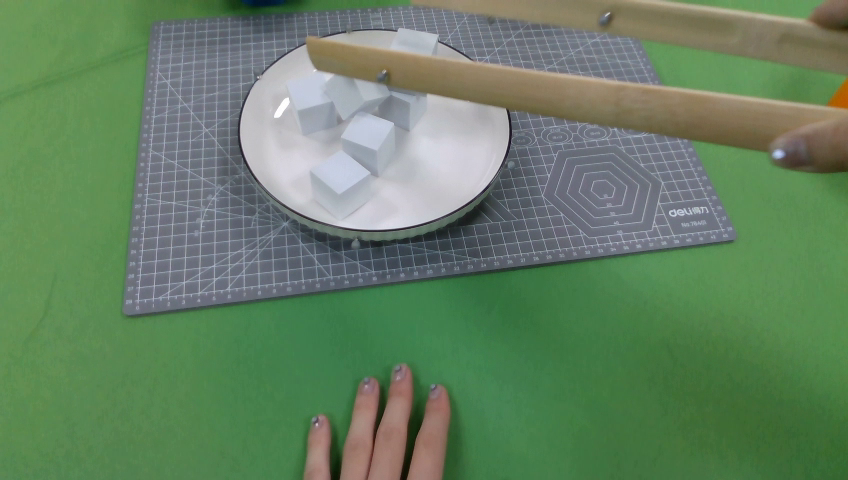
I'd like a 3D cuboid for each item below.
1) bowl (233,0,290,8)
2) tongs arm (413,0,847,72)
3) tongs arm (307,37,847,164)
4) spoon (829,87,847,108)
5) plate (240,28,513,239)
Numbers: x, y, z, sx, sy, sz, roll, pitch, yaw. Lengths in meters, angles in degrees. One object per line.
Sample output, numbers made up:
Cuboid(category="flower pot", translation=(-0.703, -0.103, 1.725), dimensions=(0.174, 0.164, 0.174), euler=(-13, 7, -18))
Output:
Cuboid(category="bowl", translation=(-0.158, -0.274, 0.568), dimensions=(0.151, 0.077, 0.150), euler=(1, 58, -2))
Cuboid(category="tongs arm", translation=(0.119, -0.114, 0.334), dimensions=(0.381, 0.027, 0.050), euler=(23, 55, 34))
Cuboid(category="tongs arm", translation=(0.084, -0.077, 0.308), dimensions=(0.384, 0.028, 0.028), euler=(17, 49, 31))
Cuboid(category="spoon", translation=(0.404, -0.110, 0.457), dimensions=(0.041, 0.192, 0.022), euler=(-27, 107, -15))
Cuboid(category="plate", translation=(-0.036, -0.085, 0.479), dimensions=(0.208, 0.039, 0.205), euler=(1, 59, -2))
